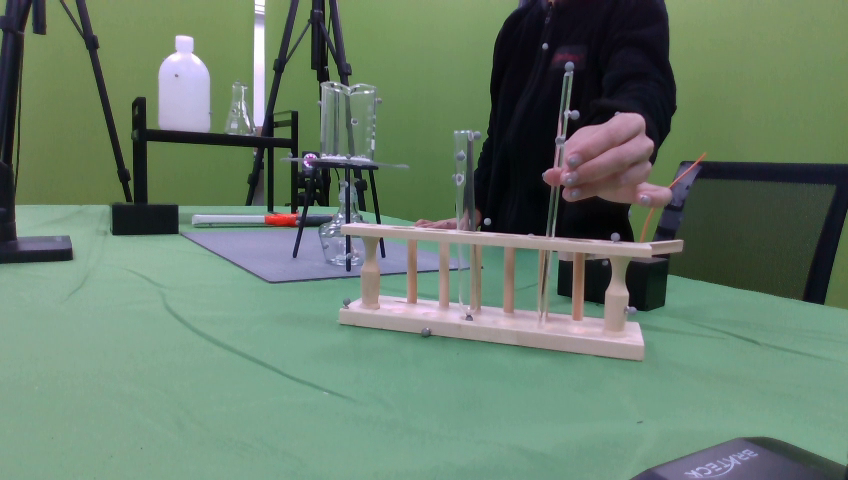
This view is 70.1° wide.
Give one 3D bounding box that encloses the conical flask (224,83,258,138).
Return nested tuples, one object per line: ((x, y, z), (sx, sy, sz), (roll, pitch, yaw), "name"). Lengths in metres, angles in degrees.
((-0.422, -0.299, 1.395), (0.075, 0.122, 0.075), (2, 7, 0), "conical flask")

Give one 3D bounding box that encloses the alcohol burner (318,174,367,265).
((-0.100, -0.028, 0.790), (0.078, 0.119, 0.078), (0, 6, 0), "alcohol burner")

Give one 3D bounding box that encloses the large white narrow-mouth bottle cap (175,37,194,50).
((-0.501, -0.409, 1.264), (0.038, 0.024, 0.037), (2, 7, 0), "large white narrow-mouth bottle cap")

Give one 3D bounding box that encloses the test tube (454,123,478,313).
((0.033, -0.016, 0.476), (0.017, 0.150, 0.017), (-2, 8, 1), "test tube")

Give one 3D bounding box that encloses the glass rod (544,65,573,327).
((0.101, -0.028, 0.453), (0.008, 0.199, 0.008), (2, 14, 0), "glass rod")

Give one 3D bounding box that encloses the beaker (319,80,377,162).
((-0.098, -0.150, 0.777), (0.074, 0.100, 0.084), (1, 7, -7), "beaker")

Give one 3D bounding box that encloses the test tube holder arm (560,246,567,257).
((0.173, 0.007, 0.612), (0.088, 0.015, 0.010), (-3, 8, -30), "test tube holder arm")

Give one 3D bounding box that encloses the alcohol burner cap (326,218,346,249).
((-0.133, -0.010, 0.927), (0.034, 0.048, 0.034), (6, 7, 0), "alcohol burner cap")

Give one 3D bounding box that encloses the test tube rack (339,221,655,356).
((0.056, 0.032, 0.495), (0.242, 0.085, 0.067), (4, 7, 15), "test tube rack")

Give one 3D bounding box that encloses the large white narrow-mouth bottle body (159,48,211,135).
((-0.503, -0.322, 1.275), (0.102, 0.194, 0.102), (2, 7, 0), "large white narrow-mouth bottle body")

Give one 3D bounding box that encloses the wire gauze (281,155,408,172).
((-0.104, -0.103, 0.784), (0.126, 0.011, 0.121), (1, 8, -39), "wire gauze")

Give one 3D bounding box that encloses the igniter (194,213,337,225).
((-0.306, -0.042, 1.196), (0.278, 0.025, 0.057), (-2, -2, -31), "igniter")

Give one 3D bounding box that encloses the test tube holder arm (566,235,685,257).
((0.215, 0.006, 0.630), (0.179, 0.015, 0.013), (-3, 9, -31), "test tube holder arm")

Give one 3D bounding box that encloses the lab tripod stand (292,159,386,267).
((-0.105, -0.039, 0.797), (0.148, 0.131, 0.148), (2, 5, 0), "lab tripod stand")
